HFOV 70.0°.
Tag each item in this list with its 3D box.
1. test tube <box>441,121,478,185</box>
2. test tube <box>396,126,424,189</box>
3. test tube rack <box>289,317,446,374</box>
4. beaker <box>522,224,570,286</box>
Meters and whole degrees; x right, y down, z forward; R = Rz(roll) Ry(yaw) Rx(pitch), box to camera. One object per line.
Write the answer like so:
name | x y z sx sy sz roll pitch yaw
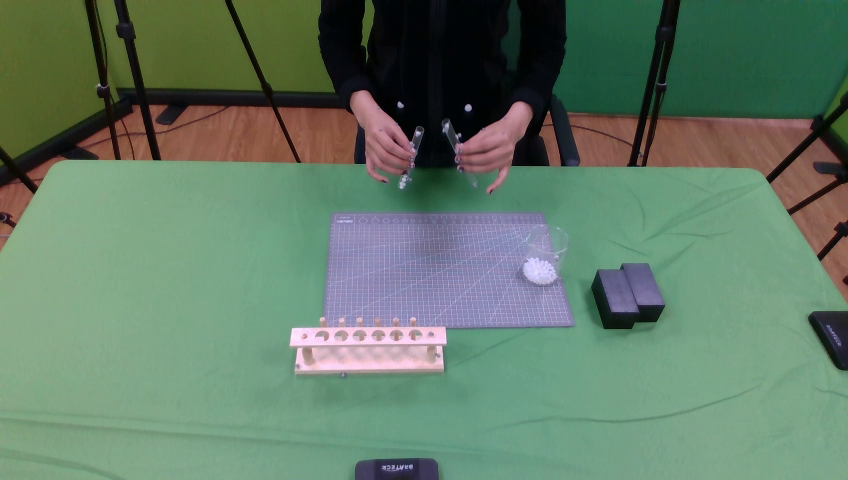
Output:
test tube | 0.064 -0.150 1.066 0.017 0.151 0.017 -16 45 17
test tube | -0.027 -0.147 1.107 0.017 0.151 0.017 10 48 -11
test tube rack | -0.089 0.167 0.988 0.242 0.085 0.066 0 46 -4
beaker | 0.221 0.032 1.129 0.084 0.101 0.073 -6 46 -9
